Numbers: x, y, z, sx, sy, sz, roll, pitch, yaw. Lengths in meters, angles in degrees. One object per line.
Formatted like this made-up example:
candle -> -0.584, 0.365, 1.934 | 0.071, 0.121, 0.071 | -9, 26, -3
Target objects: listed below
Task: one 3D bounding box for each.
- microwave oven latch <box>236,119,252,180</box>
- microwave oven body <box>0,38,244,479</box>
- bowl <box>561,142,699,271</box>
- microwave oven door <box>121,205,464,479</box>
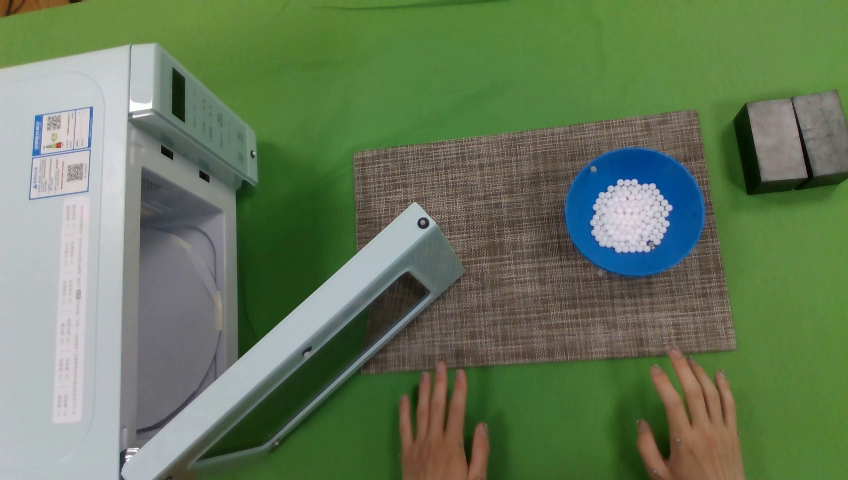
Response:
microwave oven latch -> -0.251, -0.123, 0.821 | 0.030, 0.029, 0.079 | -7, 78, 8
microwave oven body -> -0.397, 0.046, 0.711 | 0.326, 0.261, 0.439 | -7, 78, 7
bowl -> 0.236, -0.031, 0.715 | 0.151, 0.077, 0.150 | -2, 78, 9
microwave oven door -> -0.111, 0.117, 0.644 | 0.356, 0.245, 0.039 | -43, 74, -1
